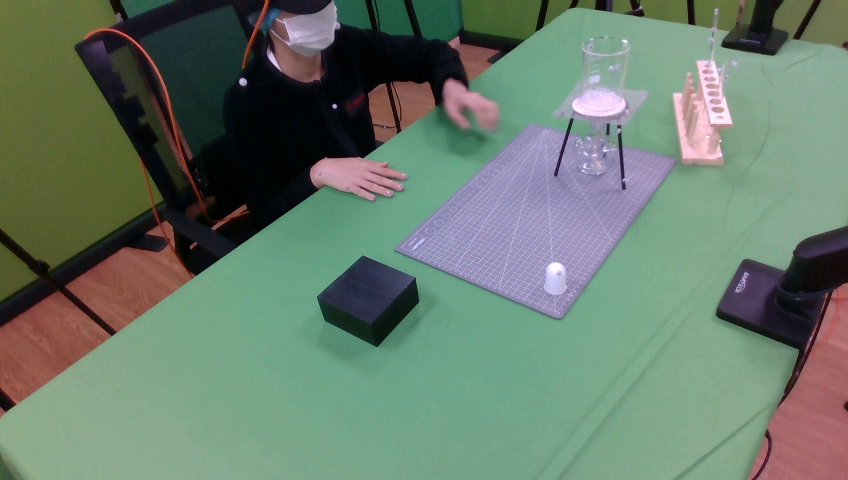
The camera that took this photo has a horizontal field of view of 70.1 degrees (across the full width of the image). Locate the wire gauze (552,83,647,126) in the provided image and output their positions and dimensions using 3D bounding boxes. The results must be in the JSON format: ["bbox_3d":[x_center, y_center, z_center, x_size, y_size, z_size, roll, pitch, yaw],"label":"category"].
[{"bbox_3d":[0.293,-0.224,1.004,0.120,0.011,0.125,19,43,26],"label":"wire gauze"}]

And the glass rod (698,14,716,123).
[{"bbox_3d":[0.532,-0.320,1.137,0.008,0.200,0.008,3,12,0],"label":"glass rod"}]

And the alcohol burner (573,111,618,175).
[{"bbox_3d":[0.302,-0.174,1.060,0.078,0.119,0.077,-3,41,3],"label":"alcohol burner"}]

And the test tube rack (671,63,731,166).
[{"bbox_3d":[0.513,-0.241,1.132,0.066,0.085,0.242,4,41,14],"label":"test tube rack"}]

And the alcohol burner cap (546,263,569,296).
[{"bbox_3d":[0.191,0.053,0.862,0.034,0.048,0.033,-5,40,4],"label":"alcohol burner cap"}]

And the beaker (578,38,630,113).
[{"bbox_3d":[0.290,-0.265,0.976,0.084,0.101,0.073,-18,41,-14],"label":"beaker"}]

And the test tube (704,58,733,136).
[{"bbox_3d":[0.516,-0.247,1.062,0.017,0.151,0.017,-3,43,4],"label":"test tube"}]

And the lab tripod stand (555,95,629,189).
[{"bbox_3d":[0.300,-0.174,1.045,0.148,0.132,0.147,-5,38,5],"label":"lab tripod stand"}]
